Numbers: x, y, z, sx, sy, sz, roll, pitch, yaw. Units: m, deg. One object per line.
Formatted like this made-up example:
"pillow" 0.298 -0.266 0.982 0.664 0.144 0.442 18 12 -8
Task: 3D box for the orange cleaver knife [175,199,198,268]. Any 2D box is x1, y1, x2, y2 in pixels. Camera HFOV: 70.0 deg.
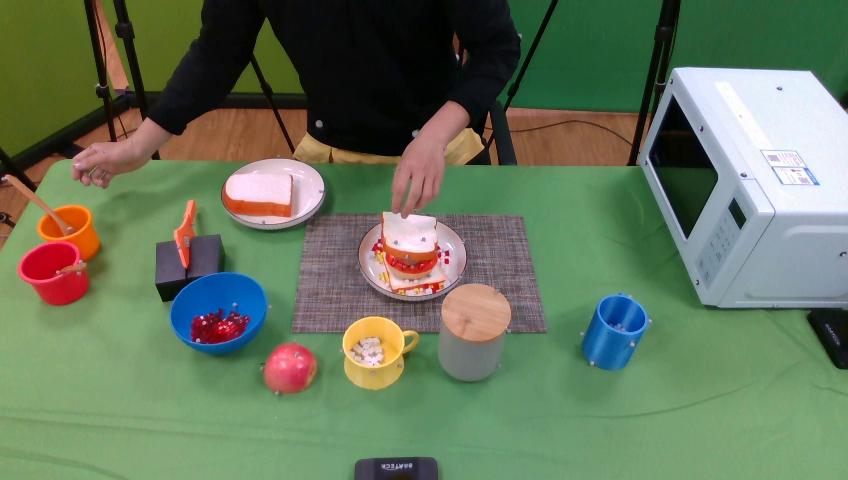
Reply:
"orange cleaver knife" -0.438 -0.017 1.138 0.012 0.077 0.210 -13 27 -7

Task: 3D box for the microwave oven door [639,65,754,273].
"microwave oven door" 0.522 -0.147 1.192 0.039 0.245 0.353 0 47 -3

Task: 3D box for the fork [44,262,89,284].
"fork" -0.599 0.054 1.014 0.207 0.019 0.028 -15 29 45

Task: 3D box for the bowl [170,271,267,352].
"bowl" -0.333 0.132 1.006 0.151 0.077 0.150 2 46 -2

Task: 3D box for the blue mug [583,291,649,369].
"blue mug" 0.324 0.142 1.023 0.082 0.106 0.116 15 47 11

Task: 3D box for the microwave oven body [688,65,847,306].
"microwave oven body" 0.669 -0.111 1.176 0.326 0.261 0.439 0 46 -3

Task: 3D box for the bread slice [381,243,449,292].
"bread slice" -0.026 0.039 1.139 0.107 0.018 0.133 -12 47 -16

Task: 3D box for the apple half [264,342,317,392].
"apple half" -0.214 0.198 0.970 0.074 0.053 0.080 19 48 11

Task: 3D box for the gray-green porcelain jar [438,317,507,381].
"gray-green porcelain jar" 0.076 0.158 0.977 0.106 0.127 0.105 2 47 -2

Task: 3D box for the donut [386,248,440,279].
"donut" -0.021 0.029 1.110 0.099 0.048 0.098 2 46 -2

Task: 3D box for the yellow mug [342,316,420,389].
"yellow mug" -0.067 0.177 0.991 0.131 0.064 0.099 -16 50 -19

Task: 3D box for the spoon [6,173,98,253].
"spoon" -0.678 -0.050 1.106 0.021 0.194 0.041 -19 27 43

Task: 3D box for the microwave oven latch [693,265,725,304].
"microwave oven latch" 0.522 0.081 1.115 0.030 0.029 0.078 2 46 -1

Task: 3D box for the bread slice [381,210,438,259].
"bread slice" -0.024 -0.011 1.064 0.105 0.019 0.131 7 34 -7

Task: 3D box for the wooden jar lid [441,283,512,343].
"wooden jar lid" 0.080 0.114 0.931 0.108 0.021 0.107 1 49 -1

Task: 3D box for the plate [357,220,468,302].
"plate" -0.022 0.037 1.141 0.208 0.039 0.206 2 46 -2

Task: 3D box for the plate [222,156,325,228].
"plate" -0.308 -0.095 1.251 0.209 0.038 0.208 3 46 -3

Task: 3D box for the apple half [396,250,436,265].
"apple half" -0.017 0.005 1.084 0.081 0.033 0.081 5 49 -6
